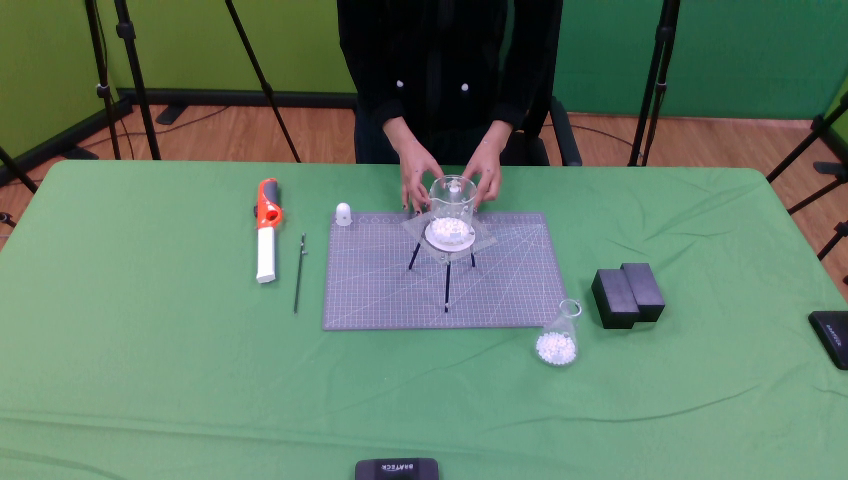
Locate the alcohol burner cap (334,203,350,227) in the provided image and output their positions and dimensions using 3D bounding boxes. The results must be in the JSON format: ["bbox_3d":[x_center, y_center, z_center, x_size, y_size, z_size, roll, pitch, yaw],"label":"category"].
[{"bbox_3d":[-0.166,-0.053,1.220,0.034,0.048,0.033,2,46,-2],"label":"alcohol burner cap"}]

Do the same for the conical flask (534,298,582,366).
[{"bbox_3d":[0.229,0.149,1.005,0.075,0.122,0.075,2,46,-2],"label":"conical flask"}]

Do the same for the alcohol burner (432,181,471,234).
[{"bbox_3d":[0.056,-0.070,1.205,0.078,0.120,0.077,1,47,-1],"label":"alcohol burner"}]

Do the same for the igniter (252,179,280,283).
[{"bbox_3d":[-0.312,-0.027,1.197,0.057,0.025,0.274,-12,47,-1],"label":"igniter"}]

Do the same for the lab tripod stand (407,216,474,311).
[{"bbox_3d":[0.039,0.030,1.093,0.148,0.132,0.147,2,44,-2],"label":"lab tripod stand"}]

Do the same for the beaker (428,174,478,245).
[{"bbox_3d":[0.043,-0.047,1.009,0.084,0.101,0.073,-16,48,-19],"label":"beaker"}]

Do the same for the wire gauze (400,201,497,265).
[{"bbox_3d":[0.042,-0.013,1.043,0.125,0.011,0.120,-24,49,-23],"label":"wire gauze"}]

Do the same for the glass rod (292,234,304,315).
[{"bbox_3d":[-0.236,0.060,1.133,0.008,0.008,0.198,-1,46,-4],"label":"glass rod"}]
